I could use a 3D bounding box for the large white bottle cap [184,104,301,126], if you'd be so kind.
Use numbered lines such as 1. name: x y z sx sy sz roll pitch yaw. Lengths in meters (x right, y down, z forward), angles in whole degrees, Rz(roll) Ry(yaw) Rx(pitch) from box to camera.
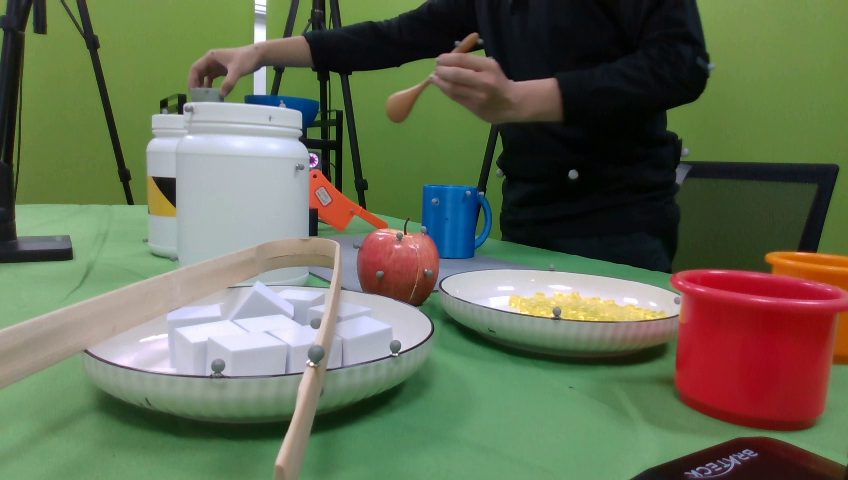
1. large white bottle cap: -0.184 -0.126 0.618 0.115 0.018 0.115 2 8 0

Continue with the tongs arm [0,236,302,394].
1. tongs arm: -0.158 0.038 0.351 0.028 0.028 0.388 -3 8 12

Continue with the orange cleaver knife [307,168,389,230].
1. orange cleaver knife: -0.158 -0.060 1.166 0.212 0.077 0.012 34 -13 -32

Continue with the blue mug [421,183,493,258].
1. blue mug: 0.052 -0.032 0.912 0.117 0.106 0.082 -1 8 -24

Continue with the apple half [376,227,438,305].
1. apple half: -0.017 0.025 0.593 0.080 0.074 0.053 4 2 43

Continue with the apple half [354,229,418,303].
1. apple half: -0.044 0.027 0.564 0.081 0.081 0.033 9 5 42

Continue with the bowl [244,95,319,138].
1. bowl: -0.293 -0.251 1.249 0.151 0.077 0.151 2 8 0

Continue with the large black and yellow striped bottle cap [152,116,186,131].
1. large black and yellow striped bottle cap: -0.309 -0.155 0.826 0.115 0.019 0.115 3 6 0

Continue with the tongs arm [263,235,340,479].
1. tongs arm: -0.074 0.039 0.349 0.051 0.026 0.384 -2 9 -3

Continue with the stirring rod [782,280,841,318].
1. stirring rod: 0.344 0.019 0.461 0.014 0.006 0.176 -13 -27 -30

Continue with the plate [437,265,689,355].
1. plate: 0.114 0.057 0.517 0.209 0.038 0.209 3 8 0

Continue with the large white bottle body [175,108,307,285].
1. large white bottle body: -0.188 -0.042 0.630 0.131 0.184 0.130 2 8 0

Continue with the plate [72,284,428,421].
1. plate: -0.102 0.066 0.381 0.208 0.039 0.207 2 7 0

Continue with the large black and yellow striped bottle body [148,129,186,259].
1. large black and yellow striped bottle body: -0.310 -0.073 0.838 0.131 0.184 0.130 2 8 0

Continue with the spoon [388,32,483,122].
1. spoon: 0.013 -0.237 0.879 0.193 0.041 0.022 -36 -3 30

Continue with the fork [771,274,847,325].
1. fork: 0.332 0.018 0.443 0.028 0.018 0.207 -1 -36 -15

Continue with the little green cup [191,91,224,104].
1. little green cup: -0.408 -0.262 1.146 0.061 0.038 0.061 0 16 0
